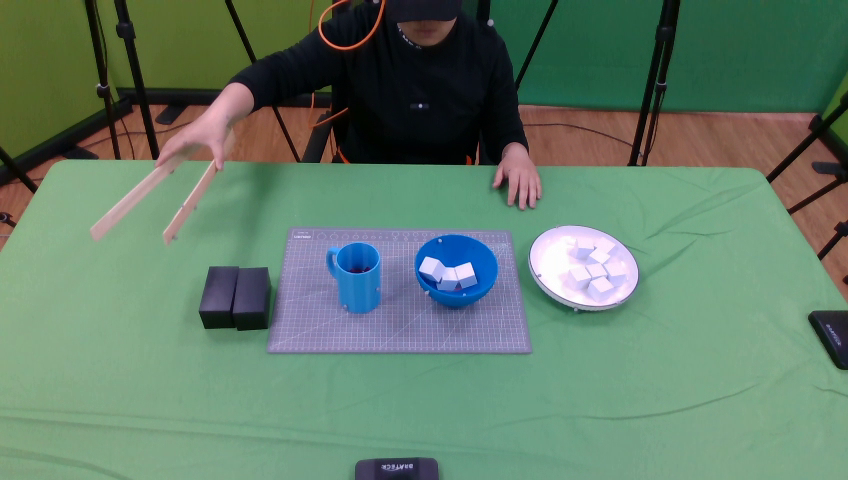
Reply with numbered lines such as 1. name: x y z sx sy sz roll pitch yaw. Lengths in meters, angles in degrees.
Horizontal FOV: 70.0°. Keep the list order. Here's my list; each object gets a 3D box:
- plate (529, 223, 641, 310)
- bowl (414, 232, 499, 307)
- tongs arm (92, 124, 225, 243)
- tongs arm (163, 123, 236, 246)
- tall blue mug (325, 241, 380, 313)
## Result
1. plate: 0.303 0.053 1.156 0.209 0.038 0.208 2 46 -1
2. bowl: 0.056 0.067 1.093 0.151 0.077 0.150 2 46 -2
3. tongs arm: -0.483 -0.119 1.129 0.028 0.028 0.386 2 37 17
4. tongs arm: -0.415 -0.117 1.118 0.051 0.026 0.382 -1 38 8
5. tall blue mug: -0.130 0.063 1.062 0.107 0.108 0.077 9 47 5
